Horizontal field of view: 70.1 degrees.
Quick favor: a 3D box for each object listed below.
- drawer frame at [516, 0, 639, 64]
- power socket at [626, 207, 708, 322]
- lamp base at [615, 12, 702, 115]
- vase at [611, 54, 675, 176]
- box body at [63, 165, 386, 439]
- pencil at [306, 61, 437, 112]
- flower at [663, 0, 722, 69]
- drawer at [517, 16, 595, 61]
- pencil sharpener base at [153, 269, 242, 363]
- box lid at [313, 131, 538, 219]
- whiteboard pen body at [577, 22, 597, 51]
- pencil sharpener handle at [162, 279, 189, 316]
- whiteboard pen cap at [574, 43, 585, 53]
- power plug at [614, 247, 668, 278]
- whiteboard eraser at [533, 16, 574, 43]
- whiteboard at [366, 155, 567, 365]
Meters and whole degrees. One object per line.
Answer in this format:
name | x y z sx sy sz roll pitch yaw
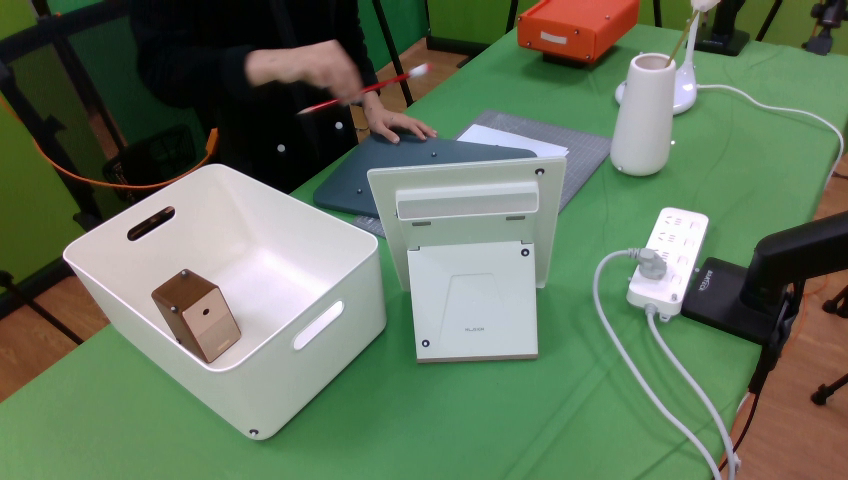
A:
drawer frame | 0.356 -0.507 1.410 0.200 0.083 0.214 25 51 32
power socket | 0.359 0.026 0.886 0.072 0.033 0.227 16 46 26
lamp base | 0.484 -0.364 1.211 0.180 0.181 0.159 -15 41 -14
vase | 0.377 -0.209 1.031 0.098 0.201 0.097 -3 40 3
box body | -0.257 0.068 0.824 0.361 0.161 0.255 24 49 31
pencil | -0.072 -0.212 0.838 0.194 0.012 0.012 -22 42 -8
flower | 0.379 -0.261 0.965 0.044 0.362 0.038 21 53 5
drawer | 0.353 -0.505 1.404 0.193 0.073 0.212 25 50 33
pencil sharpener base | -0.308 0.103 0.824 0.076 0.107 0.061 22 50 32
box lid | 0.007 -0.113 1.114 0.369 0.015 0.263 11 44 21
whiteboard pen body | 0.372 -0.468 1.390 0.017 0.017 0.141 14 47 23
pencil sharpener handle | -0.350 0.077 0.842 0.030 0.068 0.036 22 47 32
whiteboard pen cap | 0.346 -0.430 1.350 0.018 0.018 0.033 16 38 24
power plug | 0.306 0.031 0.851 0.072 0.053 0.035 24 49 33
whiteboard eraser | 0.305 -0.493 1.422 0.055 0.042 0.113 27 43 25
whiteboard | 0.059 0.050 0.738 0.217 0.307 0.143 -3 60 5
